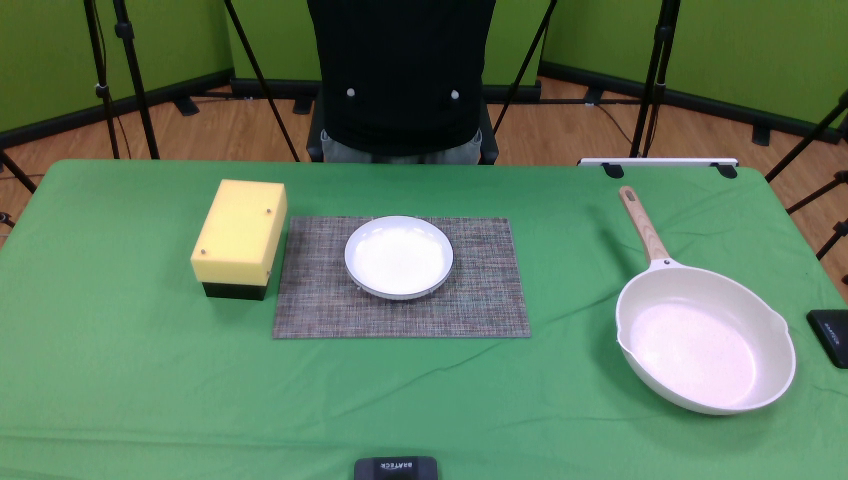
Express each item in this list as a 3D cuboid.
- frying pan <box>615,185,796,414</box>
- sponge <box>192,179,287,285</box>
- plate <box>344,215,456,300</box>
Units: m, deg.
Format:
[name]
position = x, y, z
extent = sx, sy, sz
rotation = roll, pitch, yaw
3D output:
[frying pan]
position = 0.449, 0.087, 1.092
extent = 0.307, 0.103, 0.484
rotation = -4, 55, -10
[sponge]
position = -0.327, -0.018, 1.097
extent = 0.118, 0.061, 0.205
rotation = 3, 46, -1
[plate]
position = -0.045, 0.035, 1.146
extent = 0.208, 0.039, 0.206
rotation = 2, 46, -2
